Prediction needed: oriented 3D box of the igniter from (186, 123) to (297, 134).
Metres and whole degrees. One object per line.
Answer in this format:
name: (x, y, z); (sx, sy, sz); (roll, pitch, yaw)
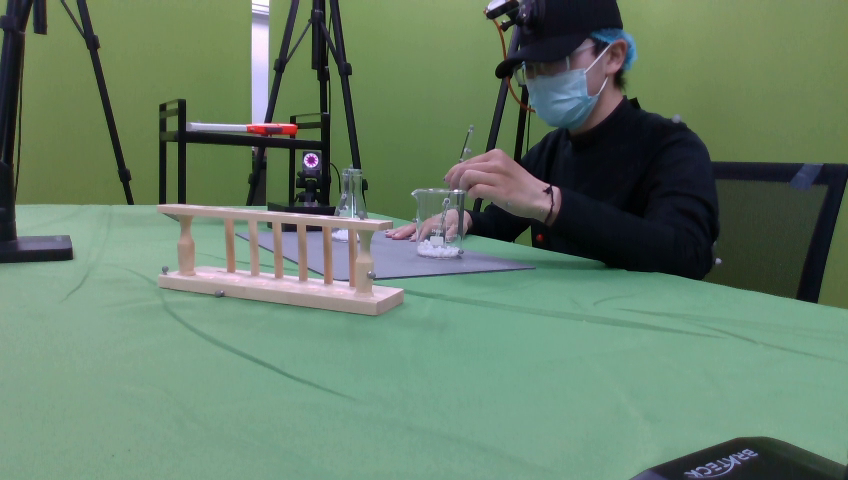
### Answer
igniter: (-0.392, -0.247, 1.341); (0.057, 0.025, 0.278); (9, 14, 38)

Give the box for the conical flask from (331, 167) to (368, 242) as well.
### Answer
conical flask: (-0.123, -0.061, 1.018); (0.075, 0.122, 0.075); (2, 7, 0)

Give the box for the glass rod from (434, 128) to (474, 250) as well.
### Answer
glass rod: (0.042, -0.070, 0.881); (0.008, 0.199, 0.008); (13, 27, -6)

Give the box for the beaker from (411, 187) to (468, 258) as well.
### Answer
beaker: (0.022, -0.027, 0.890); (0.084, 0.100, 0.074); (1, 7, -6)

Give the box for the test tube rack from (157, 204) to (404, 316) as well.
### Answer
test tube rack: (-0.143, 0.013, 0.599); (0.242, 0.085, 0.067); (5, 8, 19)
